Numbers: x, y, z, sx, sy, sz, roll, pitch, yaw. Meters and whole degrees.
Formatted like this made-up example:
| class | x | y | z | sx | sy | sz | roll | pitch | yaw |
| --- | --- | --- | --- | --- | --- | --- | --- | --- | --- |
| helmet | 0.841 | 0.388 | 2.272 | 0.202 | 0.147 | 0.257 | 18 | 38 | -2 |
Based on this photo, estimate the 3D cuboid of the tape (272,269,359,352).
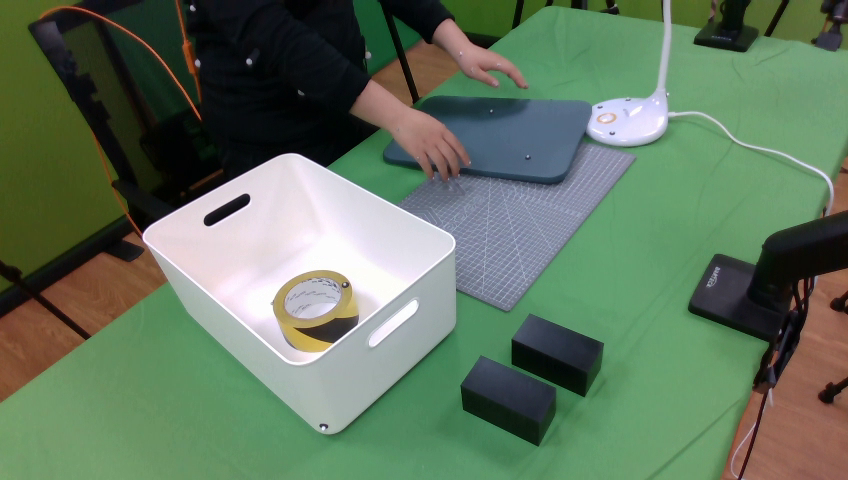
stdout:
| class | x | y | z | sx | sy | sz | roll | pitch | yaw |
| --- | --- | --- | --- | --- | --- | --- | --- | --- | --- |
| tape | -0.149 | 0.097 | 0.843 | 0.117 | 0.053 | 0.116 | -4 | 41 | 4 |

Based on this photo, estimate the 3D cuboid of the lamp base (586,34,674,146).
| class | x | y | z | sx | sy | sz | roll | pitch | yaw |
| --- | --- | --- | --- | --- | --- | --- | --- | --- | --- |
| lamp base | 0.392 | -0.291 | 1.129 | 0.180 | 0.181 | 0.159 | -11 | 41 | -8 |

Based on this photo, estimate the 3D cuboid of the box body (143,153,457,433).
| class | x | y | z | sx | sy | sz | roll | pitch | yaw |
| --- | --- | --- | --- | --- | --- | --- | --- | --- | --- |
| box body | -0.158 | 0.054 | 0.819 | 0.361 | 0.161 | 0.255 | 29 | 52 | 34 |

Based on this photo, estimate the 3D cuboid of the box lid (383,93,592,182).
| class | x | y | z | sx | sy | sz | roll | pitch | yaw |
| --- | --- | --- | --- | --- | --- | --- | --- | --- | --- |
| box lid | 0.128 | -0.211 | 1.192 | 0.369 | 0.015 | 0.263 | 9 | 45 | 22 |
